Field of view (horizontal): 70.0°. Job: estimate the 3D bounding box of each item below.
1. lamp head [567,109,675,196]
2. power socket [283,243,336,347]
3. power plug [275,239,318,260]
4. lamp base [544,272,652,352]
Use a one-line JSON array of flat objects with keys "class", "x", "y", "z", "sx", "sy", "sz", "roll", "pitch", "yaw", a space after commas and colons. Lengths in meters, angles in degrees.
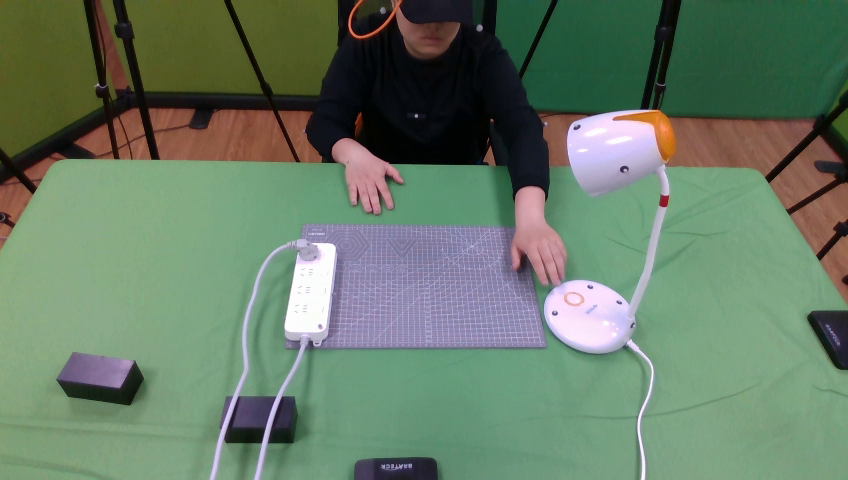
[{"class": "lamp head", "x": 0.272, "y": -0.123, "z": 0.818, "sx": 0.122, "sy": 0.113, "sz": 0.112, "roll": -9, "pitch": 35, "yaw": 37}, {"class": "power socket", "x": -0.202, "y": 0.088, "z": 1.086, "sx": 0.072, "sy": 0.033, "sz": 0.225, "roll": 1, "pitch": 46, "yaw": -2}, {"class": "power plug", "x": -0.232, "y": 0.018, "z": 1.119, "sx": 0.072, "sy": 0.053, "sz": 0.035, "roll": 9, "pitch": 46, "yaw": 6}, {"class": "lamp base", "x": 0.310, "y": 0.086, "z": 1.029, "sx": 0.178, "sy": 0.181, "sz": 0.160, "roll": 32, "pitch": 52, "yaw": 21}]
